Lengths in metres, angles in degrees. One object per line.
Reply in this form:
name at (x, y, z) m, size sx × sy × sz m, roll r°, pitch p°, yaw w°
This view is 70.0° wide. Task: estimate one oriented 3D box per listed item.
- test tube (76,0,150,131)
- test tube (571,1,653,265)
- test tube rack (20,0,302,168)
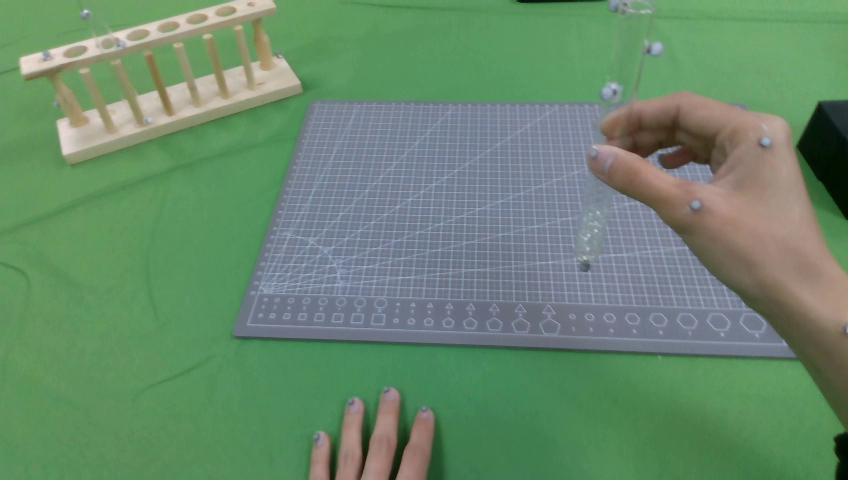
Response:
test tube at (-0.287, -0.166, 0.560) m, size 0.017 × 0.152 × 0.017 m, roll -1°, pitch 46°, yaw 2°
test tube at (0.093, -0.044, 0.310) m, size 0.017 × 0.151 × 0.017 m, roll -1°, pitch 41°, yaw 1°
test tube rack at (-0.257, -0.163, 0.616) m, size 0.243 × 0.086 × 0.066 m, roll -22°, pitch 50°, yaw -17°
